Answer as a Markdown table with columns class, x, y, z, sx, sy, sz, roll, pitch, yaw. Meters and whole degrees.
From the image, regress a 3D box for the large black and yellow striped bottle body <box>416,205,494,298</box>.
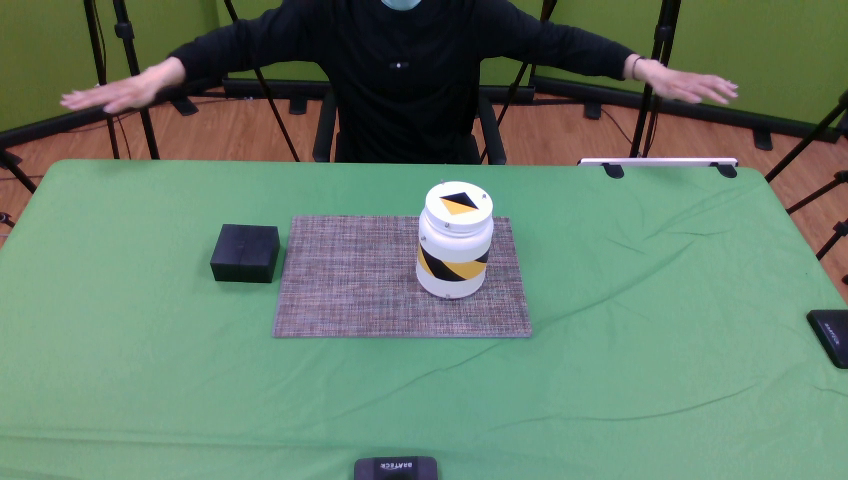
| class | x | y | z | sx | sy | sz | roll | pitch | yaw |
| --- | --- | --- | --- | --- | --- | --- | --- | --- | --- |
| large black and yellow striped bottle body | 0.054 | 0.001 | 1.080 | 0.131 | 0.185 | 0.130 | 2 | 46 | -2 |

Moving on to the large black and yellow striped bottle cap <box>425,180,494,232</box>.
| class | x | y | z | sx | sy | sz | roll | pitch | yaw |
| --- | --- | --- | --- | --- | --- | --- | --- | --- | --- |
| large black and yellow striped bottle cap | 0.060 | -0.059 | 1.017 | 0.115 | 0.019 | 0.114 | 2 | 44 | -2 |
